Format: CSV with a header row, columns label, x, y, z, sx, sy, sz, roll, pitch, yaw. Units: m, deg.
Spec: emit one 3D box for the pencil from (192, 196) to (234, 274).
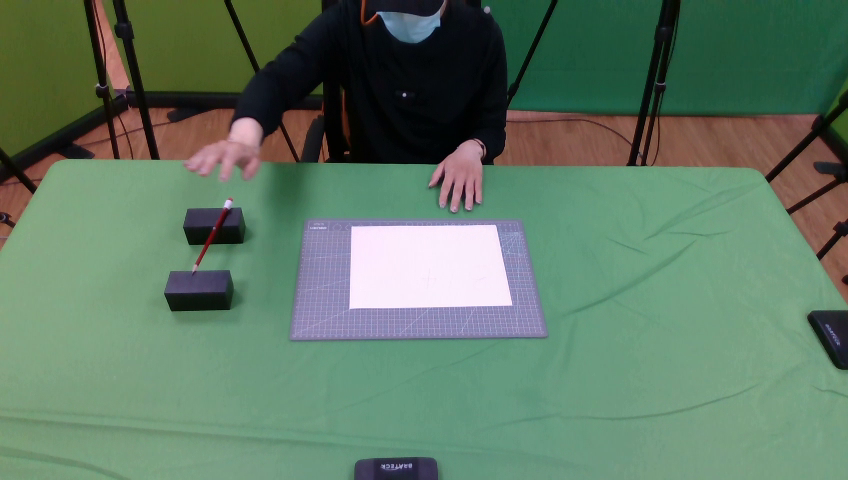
label,x,y,z,sx,sy,sz,roll,pitch,yaw
pencil,-0.389,-0.012,1.119,0.012,0.012,0.193,8,48,4
